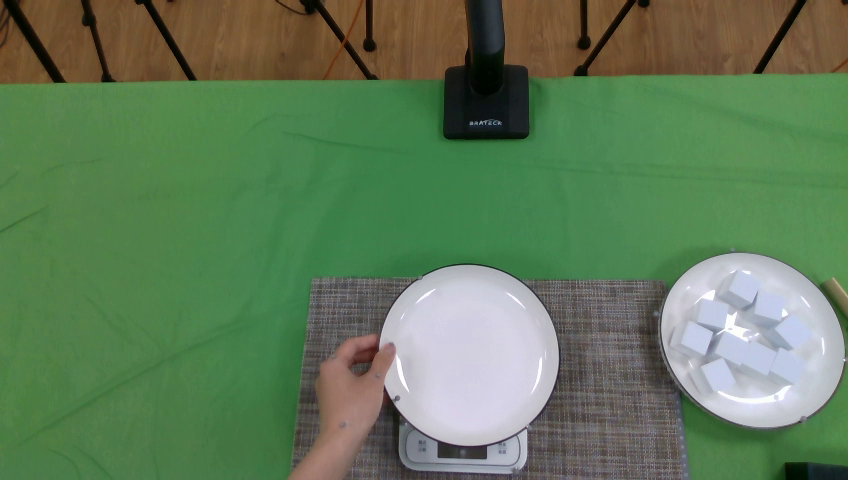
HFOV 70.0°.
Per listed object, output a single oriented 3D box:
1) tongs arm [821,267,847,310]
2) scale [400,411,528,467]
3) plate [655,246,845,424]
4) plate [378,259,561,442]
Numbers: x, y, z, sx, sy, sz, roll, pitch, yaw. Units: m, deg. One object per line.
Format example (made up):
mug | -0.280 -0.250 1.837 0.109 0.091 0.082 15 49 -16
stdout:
tongs arm | 0.584 0.191 0.676 0.028 0.028 0.384 -28 71 -8
scale | 0.048 0.163 0.721 0.148 0.032 0.199 0 71 5
plate | 0.377 0.111 0.715 0.207 0.039 0.206 -1 71 4
plate | 0.051 0.124 0.699 0.209 0.038 0.207 -1 71 4
